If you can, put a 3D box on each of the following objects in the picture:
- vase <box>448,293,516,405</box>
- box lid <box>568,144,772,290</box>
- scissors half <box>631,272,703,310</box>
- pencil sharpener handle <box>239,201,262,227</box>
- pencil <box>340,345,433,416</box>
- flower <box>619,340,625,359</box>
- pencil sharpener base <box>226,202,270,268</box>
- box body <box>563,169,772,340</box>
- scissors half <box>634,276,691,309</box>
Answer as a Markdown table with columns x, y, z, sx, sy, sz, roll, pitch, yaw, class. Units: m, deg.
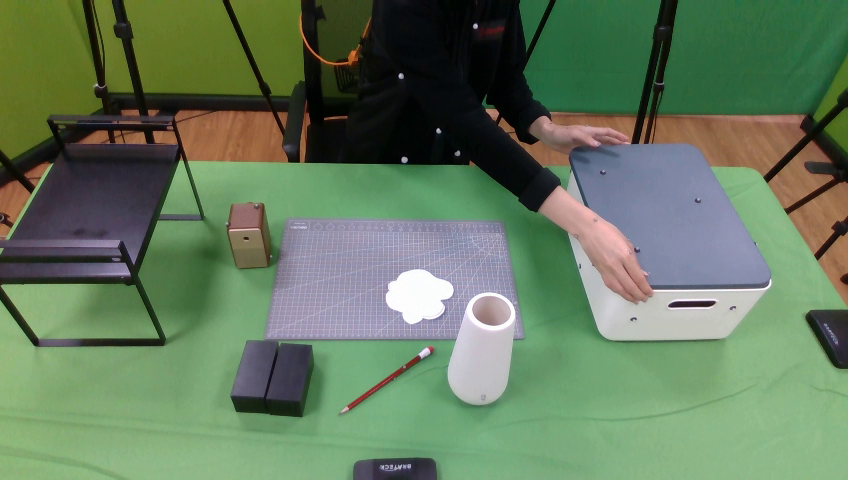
| x | y | z | sx | sy | sz | roll | pitch | yaw | class |
| --- | --- | --- | --- | --- | --- | --- | --- | --- | --- |
| 0.091 | 0.169 | 0.921 | 0.098 | 0.201 | 0.097 | 3 | 47 | -3 | vase |
| 0.419 | -0.054 | 1.075 | 0.263 | 0.015 | 0.369 | -1 | 45 | -3 | box lid |
| 0.460 | 0.092 | 1.132 | 0.175 | 0.040 | 0.013 | -22 | 84 | -21 | scissors half |
| -0.325 | -0.055 | 1.149 | 0.036 | 0.068 | 0.030 | -13 | 46 | 4 | pencil sharpener handle |
| -0.058 | 0.227 | 0.984 | 0.194 | 0.012 | 0.012 | -32 | 56 | -28 | pencil |
| 0.416 | 0.065 | 1.186 | 0.038 | 0.044 | 0.360 | 29 | 63 | -20 | flower |
| -0.323 | -0.010 | 1.123 | 0.061 | 0.107 | 0.076 | -3 | 46 | -7 | pencil sharpener base |
| 0.421 | 0.003 | 1.130 | 0.254 | 0.161 | 0.361 | 0 | 46 | -5 | box body |
| 0.454 | 0.096 | 1.144 | 0.175 | 0.040 | 0.013 | -20 | 89 | -31 | scissors half |
